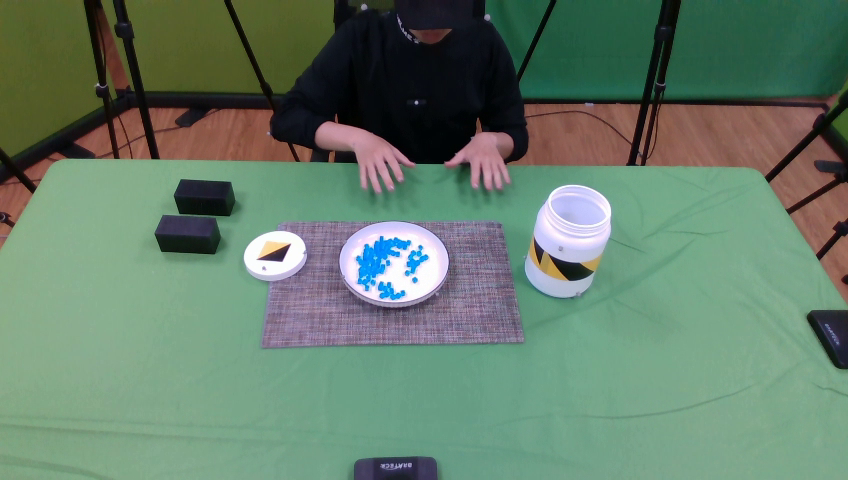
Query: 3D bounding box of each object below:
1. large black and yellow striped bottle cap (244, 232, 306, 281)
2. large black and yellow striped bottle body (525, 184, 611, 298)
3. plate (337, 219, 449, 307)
[{"bbox_3d":[-0.283,0.030,1.146,0.115,0.019,0.114,-1,45,1],"label":"large black and yellow striped bottle cap"},{"bbox_3d":[0.262,0.002,1.101,0.131,0.185,0.130,2,46,-2],"label":"large black and yellow striped bottle body"},{"bbox_3d":[-0.057,0.045,1.132,0.208,0.039,0.206,2,46,-2],"label":"plate"}]
